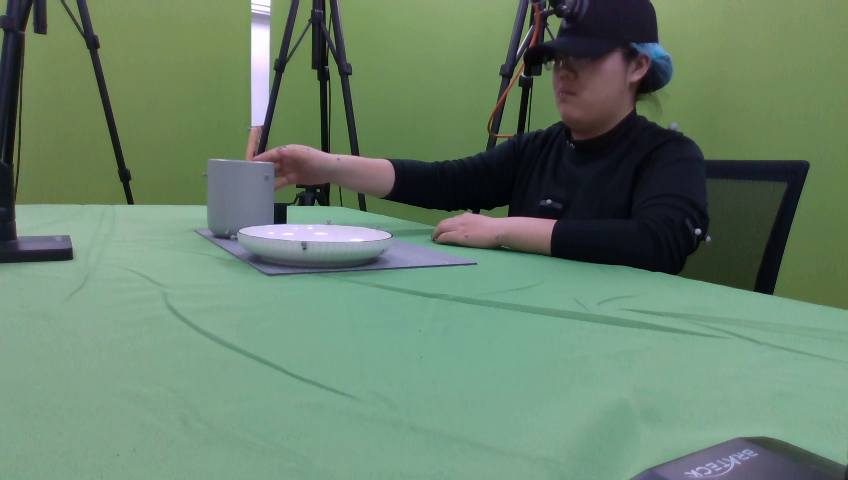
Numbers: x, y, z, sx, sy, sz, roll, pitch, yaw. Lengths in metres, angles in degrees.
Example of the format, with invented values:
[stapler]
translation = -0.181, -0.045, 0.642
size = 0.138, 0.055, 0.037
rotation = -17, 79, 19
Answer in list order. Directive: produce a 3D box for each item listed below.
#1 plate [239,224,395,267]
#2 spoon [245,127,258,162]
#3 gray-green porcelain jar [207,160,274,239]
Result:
[plate]
translation = -0.144, 0.007, 0.823
size = 0.208, 0.039, 0.207
rotation = 3, 7, 0
[spoon]
translation = -0.299, -0.115, 1.032
size = 0.041, 0.193, 0.022
rotation = -5, -24, 11
[gray-green porcelain jar]
translation = -0.304, -0.068, 1.003
size = 0.106, 0.126, 0.106
rotation = 3, 7, 0
